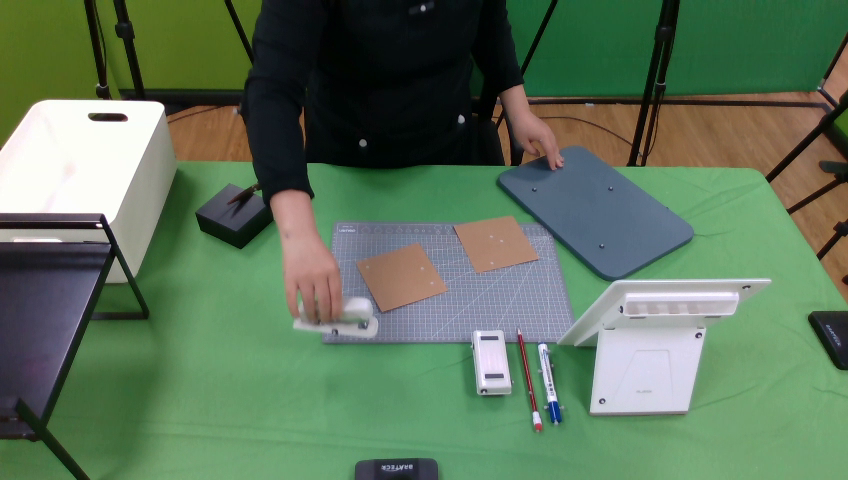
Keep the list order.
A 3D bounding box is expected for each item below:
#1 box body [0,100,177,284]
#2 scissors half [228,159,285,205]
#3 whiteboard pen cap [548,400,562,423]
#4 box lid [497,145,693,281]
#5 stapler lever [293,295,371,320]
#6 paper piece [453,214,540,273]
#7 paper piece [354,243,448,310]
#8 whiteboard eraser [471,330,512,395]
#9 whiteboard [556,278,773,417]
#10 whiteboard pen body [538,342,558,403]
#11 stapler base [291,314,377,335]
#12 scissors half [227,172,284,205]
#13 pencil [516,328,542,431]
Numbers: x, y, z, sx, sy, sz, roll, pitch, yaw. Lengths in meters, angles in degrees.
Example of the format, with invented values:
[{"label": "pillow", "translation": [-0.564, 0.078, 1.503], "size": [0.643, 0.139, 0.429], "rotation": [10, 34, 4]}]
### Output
[{"label": "box body", "translation": [-0.639, -0.094, 1.140], "size": [0.254, 0.161, 0.361], "rotation": [1, 46, -4]}, {"label": "scissors half", "translation": [-0.336, -0.116, 1.217], "size": [0.013, 0.040, 0.175], "rotation": [25, 46, 14]}, {"label": "whiteboard pen cap", "translation": [0.205, 0.270, 0.956], "size": [0.018, 0.018, 0.033], "rotation": [-1, 47, -5]}, {"label": "box lid", "translation": [0.361, -0.072, 1.303], "size": [0.263, 0.015, 0.369], "rotation": [-24, 51, -25]}, {"label": "stapler lever", "translation": [-0.139, 0.101, 0.925], "size": [0.118, 0.040, 0.026], "rotation": [5, 39, 1]}, {"label": "paper piece", "translation": [0.142, 0.003, 1.212], "size": [0.135, 0.004, 0.135], "rotation": [-12, 47, -13]}, {"label": "paper piece", "translation": [-0.045, 0.066, 1.136], "size": [0.136, 0.009, 0.137], "rotation": [-14, 46, -22]}, {"label": "whiteboard eraser", "translation": [0.110, 0.203, 0.997], "size": [0.055, 0.042, 0.112], "rotation": [1, 46, -5]}, {"label": "whiteboard", "translation": [0.347, 0.174, 0.903], "size": [0.217, 0.306, 0.143], "rotation": [1, 65, -4]}, {"label": "whiteboard pen body", "translation": [0.205, 0.229, 0.996], "size": [0.017, 0.017, 0.140], "rotation": [1, 46, -3]}, {"label": "stapler base", "translation": [-0.139, 0.120, 0.942], "size": [0.130, 0.024, 0.041], "rotation": [5, 39, 1]}, {"label": "scissors half", "translation": [-0.339, -0.101, 1.229], "size": [0.013, 0.040, 0.175], "rotation": [21, 28, 17]}, {"label": "pencil", "translation": [0.170, 0.225, 1.002], "size": [0.012, 0.012, 0.192], "rotation": [-1, 46, -5]}]
